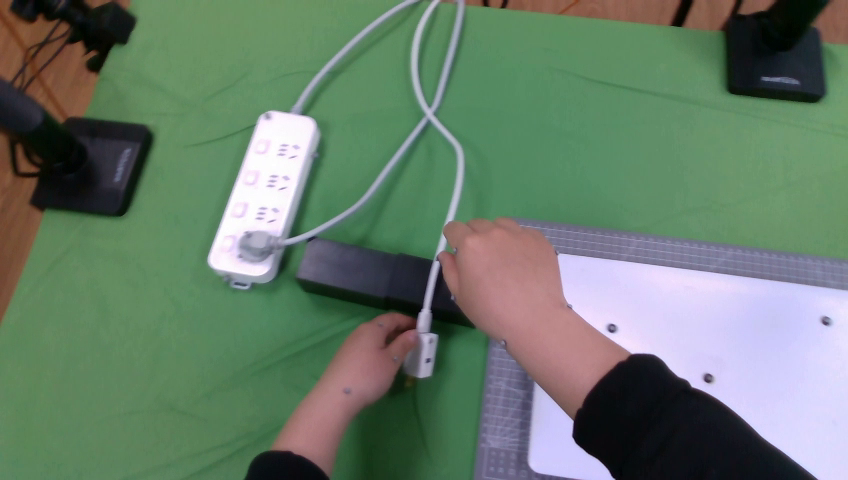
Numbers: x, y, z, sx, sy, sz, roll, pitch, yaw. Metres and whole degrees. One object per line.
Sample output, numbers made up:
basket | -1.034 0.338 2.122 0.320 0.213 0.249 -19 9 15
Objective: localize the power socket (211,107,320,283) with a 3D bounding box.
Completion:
power socket | -0.183 -0.060 0.711 0.072 0.033 0.225 12 69 4

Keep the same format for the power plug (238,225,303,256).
power plug | -0.170 0.008 0.665 0.072 0.053 0.035 23 70 7

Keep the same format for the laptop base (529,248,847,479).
laptop base | 0.295 0.142 0.639 0.354 0.023 0.234 8 73 3

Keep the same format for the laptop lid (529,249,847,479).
laptop lid | 0.294 0.141 0.627 0.356 0.013 0.240 9 72 4

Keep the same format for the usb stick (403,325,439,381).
usb stick | -0.004 0.119 0.626 0.027 0.021 0.059 15 94 31
